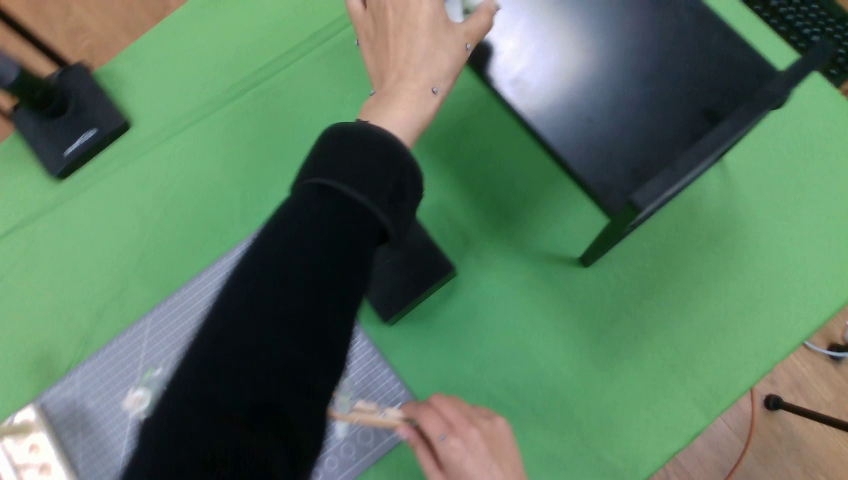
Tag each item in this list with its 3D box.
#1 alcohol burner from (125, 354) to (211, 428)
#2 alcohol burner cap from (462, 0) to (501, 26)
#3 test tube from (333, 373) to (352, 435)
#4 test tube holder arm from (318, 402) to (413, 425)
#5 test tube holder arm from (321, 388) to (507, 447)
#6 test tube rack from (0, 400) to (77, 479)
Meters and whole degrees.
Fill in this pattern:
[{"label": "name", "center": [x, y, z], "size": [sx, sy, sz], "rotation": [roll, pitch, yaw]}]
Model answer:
[{"label": "alcohol burner", "center": [-0.276, 0.160, 0.640], "size": [0.078, 0.119, 0.077], "rotation": [-1, 80, 4]}, {"label": "alcohol burner cap", "center": [0.046, -0.204, 0.502], "size": [0.034, 0.048, 0.033], "rotation": [-1, 81, 8]}, {"label": "test tube", "center": [-0.077, 0.158, 0.570], "size": [0.017, 0.151, 0.017], "rotation": [4, 57, -6]}, {"label": "test tube holder arm", "center": [-0.054, 0.162, 0.563], "size": [0.088, 0.015, 0.010], "rotation": [7, 60, -5]}, {"label": "test tube holder arm", "center": [-0.009, 0.166, 0.568], "size": [0.178, 0.015, 0.013], "rotation": [14, 60, -1]}, {"label": "test tube rack", "center": [-0.413, 0.292, 0.639], "size": [0.067, 0.085, 0.241], "rotation": [-34, 79, -3]}]
